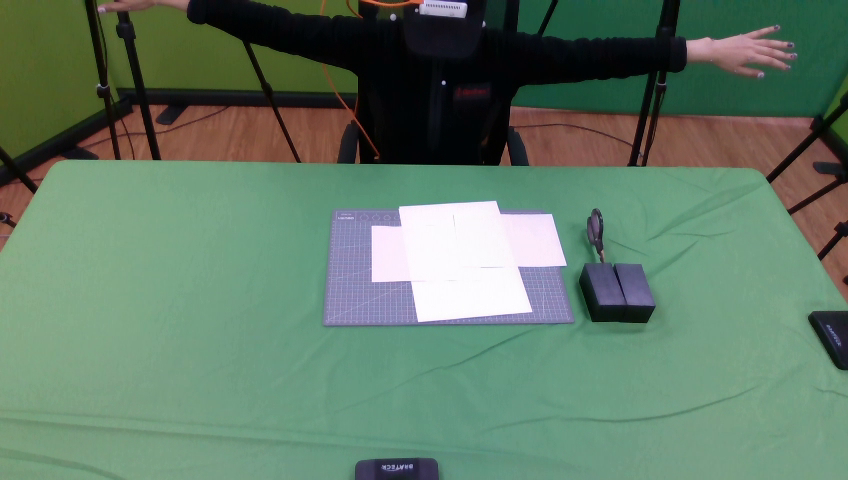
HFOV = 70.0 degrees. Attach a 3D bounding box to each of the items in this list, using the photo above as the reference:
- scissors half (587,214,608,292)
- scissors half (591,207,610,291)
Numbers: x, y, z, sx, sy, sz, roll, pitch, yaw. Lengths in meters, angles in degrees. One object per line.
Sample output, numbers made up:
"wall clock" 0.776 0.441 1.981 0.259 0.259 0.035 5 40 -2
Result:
"scissors half" 0.344 0.025 1.195 0.013 0.040 0.174 2 56 -8
"scissors half" 0.346 0.016 1.178 0.013 0.040 0.174 -1 70 -3
